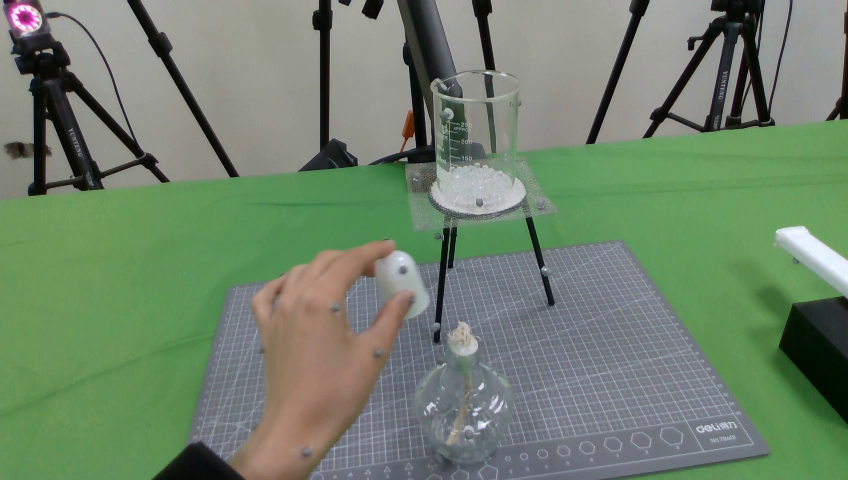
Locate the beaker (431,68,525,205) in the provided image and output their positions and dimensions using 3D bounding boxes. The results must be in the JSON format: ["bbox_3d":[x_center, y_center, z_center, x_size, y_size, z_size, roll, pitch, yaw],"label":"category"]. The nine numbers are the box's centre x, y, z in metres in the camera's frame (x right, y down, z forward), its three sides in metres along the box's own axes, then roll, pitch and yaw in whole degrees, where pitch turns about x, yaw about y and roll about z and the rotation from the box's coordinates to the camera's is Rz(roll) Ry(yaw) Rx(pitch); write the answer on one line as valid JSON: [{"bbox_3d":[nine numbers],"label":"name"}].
[{"bbox_3d":[0.042,-0.088,0.520,0.074,0.101,0.083,-27,40,-31],"label":"beaker"}]

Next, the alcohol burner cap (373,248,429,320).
[{"bbox_3d":[-0.017,0.027,0.410,0.034,0.048,0.033,-9,37,8],"label":"alcohol burner cap"}]

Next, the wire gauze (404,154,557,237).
[{"bbox_3d":[0.045,-0.047,0.546,0.121,0.011,0.124,-7,36,-3],"label":"wire gauze"}]

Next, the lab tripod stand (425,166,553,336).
[{"bbox_3d":[0.054,0.005,0.585,0.148,0.132,0.147,-2,32,1],"label":"lab tripod stand"}]

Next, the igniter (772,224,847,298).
[{"bbox_3d":[0.378,0.059,0.486,0.057,0.025,0.274,-8,30,-4],"label":"igniter"}]

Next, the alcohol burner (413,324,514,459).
[{"bbox_3d":[0.029,0.107,0.454,0.078,0.120,0.077,-2,36,2],"label":"alcohol burner"}]
